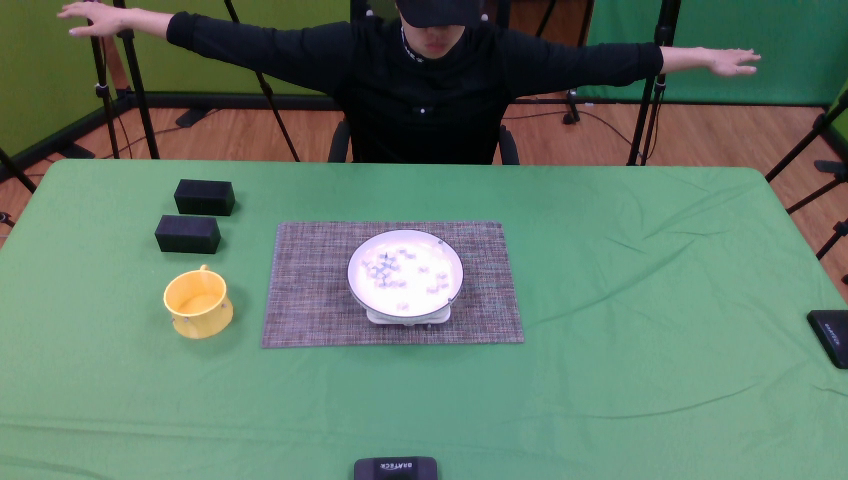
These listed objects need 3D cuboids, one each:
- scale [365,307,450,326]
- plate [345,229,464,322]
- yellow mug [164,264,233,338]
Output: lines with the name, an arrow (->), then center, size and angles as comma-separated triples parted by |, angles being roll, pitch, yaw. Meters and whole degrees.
scale -> -0.032, 0.071, 1.113 | 0.149, 0.032, 0.199 | 0, 46, -4
plate -> -0.034, 0.065, 1.073 | 0.209, 0.038, 0.208 | 2, 46, -2
yellow mug -> -0.384, 0.096, 1.043 | 0.100, 0.064, 0.130 | -1, 45, -5
